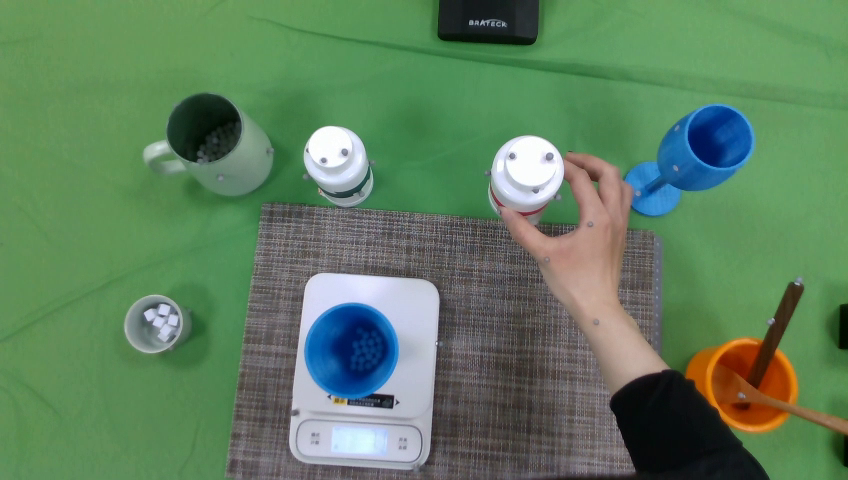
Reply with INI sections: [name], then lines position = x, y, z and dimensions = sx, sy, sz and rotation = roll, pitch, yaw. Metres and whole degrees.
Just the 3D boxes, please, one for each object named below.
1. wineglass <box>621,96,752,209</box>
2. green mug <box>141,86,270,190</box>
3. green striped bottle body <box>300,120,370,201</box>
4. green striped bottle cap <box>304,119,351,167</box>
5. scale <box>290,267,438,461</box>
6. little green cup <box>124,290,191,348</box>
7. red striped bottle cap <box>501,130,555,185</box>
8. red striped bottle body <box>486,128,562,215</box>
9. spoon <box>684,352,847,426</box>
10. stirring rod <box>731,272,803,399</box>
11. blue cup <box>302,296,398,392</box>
[wineglass]
position = 0.258, -0.082, 0.614
dimensions = 0.074, 0.173, 0.073
rotation = 0, 80, 1
[green mug]
position = -0.237, -0.102, 0.651
dimensions = 0.125, 0.105, 0.092
rotation = -18, 81, -2
[green striped bottle body]
position = -0.093, -0.085, 0.641
dimensions = 0.063, 0.119, 0.063
rotation = 0, 80, 0
[green striped bottle cap]
position = -0.094, -0.095, 0.590
dimensions = 0.044, 0.020, 0.044
rotation = 0, 80, -1
[scale]
position = -0.063, 0.131, 0.647
dimensions = 0.149, 0.031, 0.200
rotation = 4, 81, 1
[little green cup]
position = -0.284, 0.085, 0.654
dimensions = 0.061, 0.039, 0.061
rotation = 0, 81, -1
[red striped bottle cap]
position = 0.087, -0.070, 0.507
dimensions = 0.044, 0.018, 0.044
rotation = -1, 81, 4
[red striped bottle body]
position = 0.091, -0.063, 0.560
dimensions = 0.063, 0.120, 0.063
rotation = 0, 82, 3
[spoon]
position = 0.350, 0.154, 0.590
dimensions = 0.022, 0.192, 0.041
rotation = 20, 87, -40
[stirring rod]
position = 0.336, 0.100, 0.599
dimensions = 0.014, 0.178, 0.006
rotation = 11, 40, 16
[blue cup]
position = -0.067, 0.099, 0.586
dimensions = 0.093, 0.100, 0.092
rotation = 0, 83, -2
